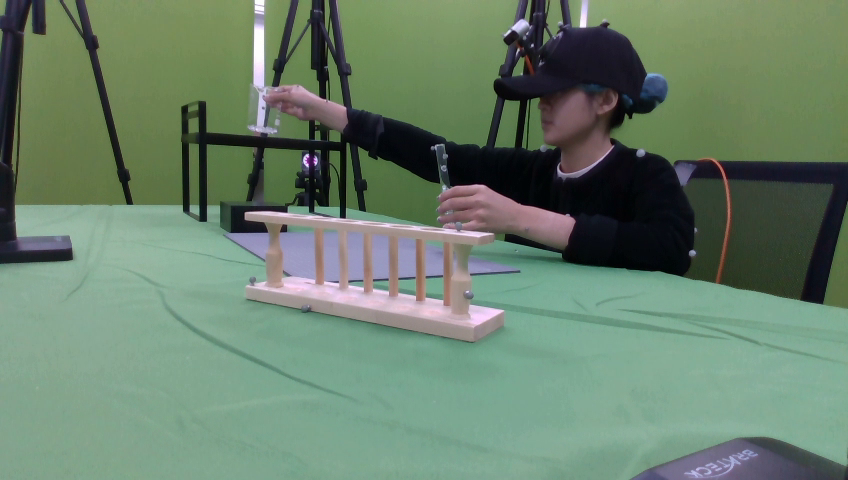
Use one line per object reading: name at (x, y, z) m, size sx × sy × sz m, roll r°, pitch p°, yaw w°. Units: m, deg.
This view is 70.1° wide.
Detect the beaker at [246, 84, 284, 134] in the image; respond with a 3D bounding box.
beaker at (-0.353, -0.288, 1.336) m, size 0.074 × 0.100 × 0.084 m, roll 9°, pitch 10°, yaw -1°

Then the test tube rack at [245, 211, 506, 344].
test tube rack at (-0.049, 0.025, 0.547) m, size 0.241 × 0.085 × 0.067 m, roll 7°, pitch 8°, yaw 28°

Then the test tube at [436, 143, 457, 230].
test tube at (0.037, -0.079, 0.965) m, size 0.017 × 0.150 × 0.017 m, roll -8°, pitch 7°, yaw 1°
